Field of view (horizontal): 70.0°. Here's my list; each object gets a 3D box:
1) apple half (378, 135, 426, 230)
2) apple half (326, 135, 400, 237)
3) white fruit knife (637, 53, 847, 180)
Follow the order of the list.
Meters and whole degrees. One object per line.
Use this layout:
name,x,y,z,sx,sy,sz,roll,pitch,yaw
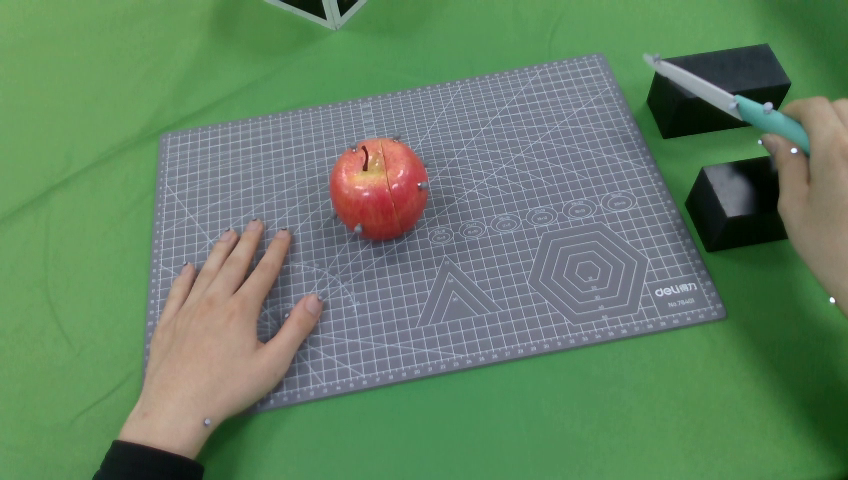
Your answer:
apple half,-0.014,-0.049,0.501,0.033,0.082,0.080,-14,58,3
apple half,-0.052,-0.040,0.501,0.053,0.075,0.080,-13,63,2
white fruit knife,0.247,-0.103,0.474,0.016,0.028,0.205,-43,54,-4
